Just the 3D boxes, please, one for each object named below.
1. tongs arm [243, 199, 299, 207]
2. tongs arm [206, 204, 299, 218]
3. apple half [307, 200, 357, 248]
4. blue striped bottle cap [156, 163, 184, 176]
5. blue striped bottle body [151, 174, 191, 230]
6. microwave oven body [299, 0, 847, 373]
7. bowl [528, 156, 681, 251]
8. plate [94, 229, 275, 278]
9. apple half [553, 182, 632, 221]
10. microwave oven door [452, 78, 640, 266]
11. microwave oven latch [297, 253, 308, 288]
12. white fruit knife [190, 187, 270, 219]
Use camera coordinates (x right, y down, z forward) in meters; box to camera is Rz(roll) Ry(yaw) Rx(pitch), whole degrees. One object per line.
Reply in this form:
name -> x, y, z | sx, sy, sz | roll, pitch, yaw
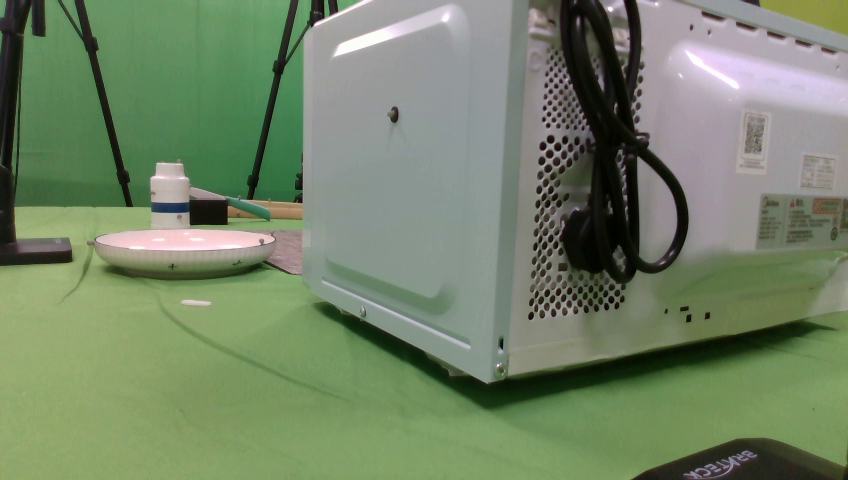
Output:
tongs arm -> -0.309, -0.078, 1.487 | 0.385, 0.026, 0.050 | 4, 7, -2
tongs arm -> -0.302, -0.065, 1.407 | 0.389, 0.028, 0.028 | 1, 4, -15
apple half -> -0.135, -0.024, 0.942 | 0.053, 0.074, 0.081 | 13, 9, 38
blue striped bottle cap -> -0.438, -0.122, 1.045 | 0.044, 0.020, 0.044 | 5, 6, 0
blue striped bottle body -> -0.439, -0.071, 1.052 | 0.063, 0.120, 0.063 | 2, 8, 0
microwave oven body -> 0.152, -0.055, 0.542 | 0.444, 0.260, 0.324 | -1, 7, -33
bowl -> 0.174, -0.033, 0.613 | 0.151, 0.077, 0.151 | 10, 3, 0
plate -> -0.291, 0.016, 0.749 | 0.208, 0.039, 0.207 | 2, 7, 0
apple half -> 0.172, -0.043, 0.619 | 0.081, 0.033, 0.081 | 14, -3, 1
microwave oven door -> 0.163, -0.106, 0.919 | 0.039, 0.243, 0.354 | -2, 8, -33
microwave oven latch -> -0.081, 0.028, 0.579 | 0.079, 0.029, 0.030 | -1, 7, -27
white fruit knife -> -0.413, -0.081, 1.270 | 0.208, 0.027, 0.016 | 17, 13, -41
